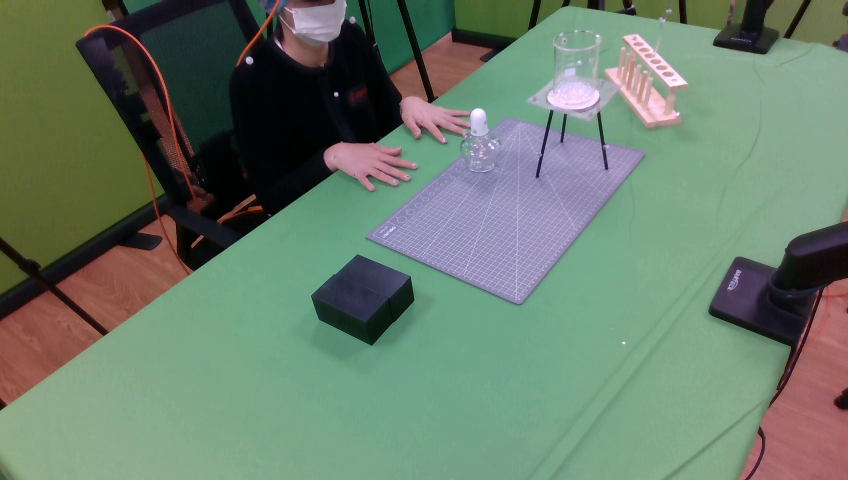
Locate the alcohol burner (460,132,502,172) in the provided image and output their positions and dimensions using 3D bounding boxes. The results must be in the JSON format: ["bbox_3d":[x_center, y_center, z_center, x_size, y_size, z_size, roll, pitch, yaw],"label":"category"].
[{"bbox_3d":[0.102,-0.185,1.098,0.078,0.119,0.077,-6,40,5],"label":"alcohol burner"}]

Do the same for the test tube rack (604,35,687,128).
[{"bbox_3d":[0.447,-0.330,1.242,0.067,0.085,0.241,-9,41,-2],"label":"test tube rack"}]

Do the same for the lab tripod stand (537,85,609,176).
[{"bbox_3d":[0.259,-0.192,1.068,0.148,0.132,0.147,-4,42,4],"label":"lab tripod stand"}]

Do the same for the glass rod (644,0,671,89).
[{"bbox_3d":[0.463,-0.387,1.204,0.008,0.200,0.008,0,47,1],"label":"glass rod"}]

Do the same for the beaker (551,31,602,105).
[{"bbox_3d":[0.252,-0.282,0.998,0.084,0.101,0.073,-16,42,-7],"label":"beaker"}]

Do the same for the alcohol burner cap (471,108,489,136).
[{"bbox_3d":[0.098,-0.211,1.074,0.034,0.048,0.033,-6,42,6],"label":"alcohol burner cap"}]

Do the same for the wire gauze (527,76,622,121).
[{"bbox_3d":[0.255,-0.247,1.031,0.124,0.011,0.122,23,49,34],"label":"wire gauze"}]
